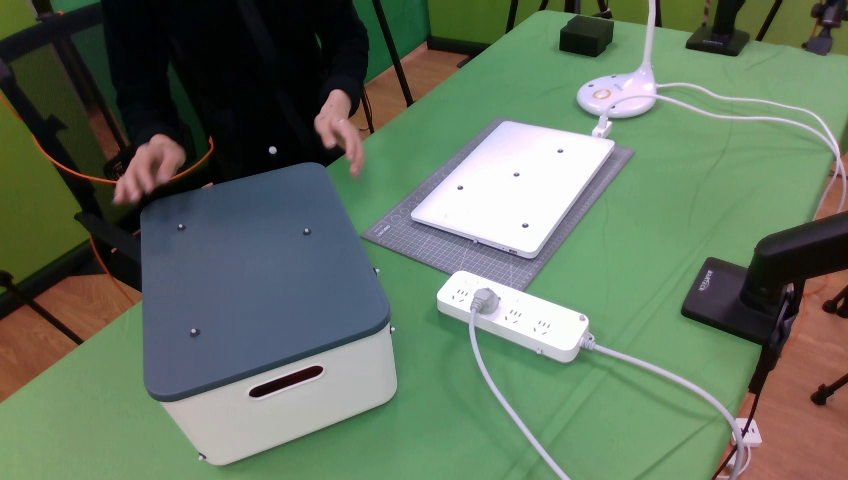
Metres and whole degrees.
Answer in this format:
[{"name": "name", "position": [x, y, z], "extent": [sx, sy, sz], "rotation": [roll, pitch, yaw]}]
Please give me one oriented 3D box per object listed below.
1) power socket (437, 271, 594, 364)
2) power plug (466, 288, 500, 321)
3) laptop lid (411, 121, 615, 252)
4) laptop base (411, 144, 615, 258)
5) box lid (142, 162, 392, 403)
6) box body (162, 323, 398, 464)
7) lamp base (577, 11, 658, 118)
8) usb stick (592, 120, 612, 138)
[{"name": "power socket", "position": [0.118, 0.102, 0.830], "extent": [0.225, 0.033, 0.072], "rotation": [20, 48, 28]}, {"name": "power plug", "position": [0.072, 0.093, 0.813], "extent": [0.035, 0.053, 0.073], "rotation": [30, 54, 35]}, {"name": "laptop lid", "position": [0.164, -0.112, 1.068], "extent": [0.240, 0.013, 0.357], "rotation": [19, 46, 31]}, {"name": "laptop base", "position": [0.167, -0.102, 1.074], "extent": [0.234, 0.023, 0.355], "rotation": [16, 45, 30]}, {"name": "box lid", "position": [-0.212, 0.024, 0.752], "extent": [0.264, 0.015, 0.368], "rotation": [-17, 41, -13]}, {"name": "box body", "position": [-0.205, 0.080, 0.802], "extent": [0.255, 0.161, 0.361], "rotation": [-18, 41, -13]}, {"name": "lamp base", "position": [0.406, -0.363, 1.222], "extent": [0.180, 0.181, 0.159], "rotation": [-20, 42, -18]}, {"name": "usb stick", "position": [0.335, -0.203, 1.149], "extent": [0.021, 0.027, 0.059], "rotation": [25, 53, 26]}]
